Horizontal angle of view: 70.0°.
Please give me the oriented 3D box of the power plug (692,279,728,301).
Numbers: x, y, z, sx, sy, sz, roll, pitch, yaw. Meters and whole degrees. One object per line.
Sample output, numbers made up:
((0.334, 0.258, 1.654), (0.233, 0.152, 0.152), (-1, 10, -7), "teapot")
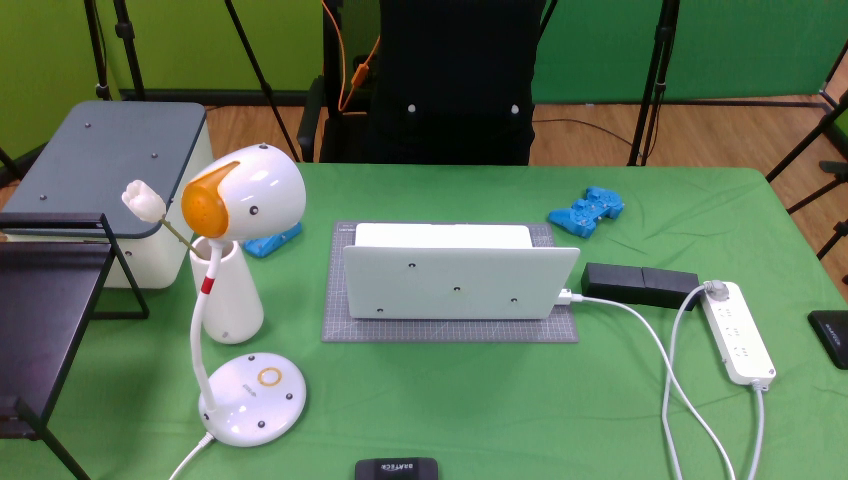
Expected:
((0.522, 0.092, 1.115), (0.072, 0.053, 0.035), (8, 46, 7), "power plug")

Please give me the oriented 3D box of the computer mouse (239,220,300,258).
((-0.300, -0.017, 1.178), (0.062, 0.041, 0.117), (35, 58, 23), "computer mouse")

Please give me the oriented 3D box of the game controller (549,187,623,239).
((0.345, -0.065, 1.272), (0.155, 0.052, 0.096), (-31, 58, -29), "game controller")

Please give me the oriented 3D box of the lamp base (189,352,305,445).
((-0.268, 0.196, 0.876), (0.160, 0.181, 0.179), (25, 52, 19), "lamp base")

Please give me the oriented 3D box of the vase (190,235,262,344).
((-0.317, 0.081, 0.971), (0.098, 0.201, 0.097), (3, 47, -3), "vase")

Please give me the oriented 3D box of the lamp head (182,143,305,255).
((-0.216, -0.044, 0.697), (0.112, 0.113, 0.123), (23, 31, 17), "lamp head")

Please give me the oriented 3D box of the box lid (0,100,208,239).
((-0.559, -0.138, 1.085), (0.263, 0.015, 0.369), (2, 46, -2), "box lid")

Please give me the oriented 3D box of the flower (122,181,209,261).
((-0.329, 0.029, 0.905), (0.038, 0.364, 0.044), (-21, 58, -1), "flower")

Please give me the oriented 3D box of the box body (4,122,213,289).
((-0.563, -0.088, 1.139), (0.254, 0.161, 0.361), (2, 46, -3), "box body")

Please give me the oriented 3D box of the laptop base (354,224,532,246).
((0.040, 0.056, 1.149), (0.355, 0.023, 0.234), (1, 43, -4), "laptop base")

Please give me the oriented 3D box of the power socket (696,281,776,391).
((0.550, 0.160, 1.078), (0.072, 0.033, 0.225), (2, 46, -1), "power socket")

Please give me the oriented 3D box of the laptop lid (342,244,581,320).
((0.051, 0.074, 0.969), (0.357, 0.243, 0.013), (1, 56, -5), "laptop lid")

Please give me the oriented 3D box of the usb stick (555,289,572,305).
((0.236, 0.103, 1.101), (0.059, 0.027, 0.021), (0, 48, 1), "usb stick")
